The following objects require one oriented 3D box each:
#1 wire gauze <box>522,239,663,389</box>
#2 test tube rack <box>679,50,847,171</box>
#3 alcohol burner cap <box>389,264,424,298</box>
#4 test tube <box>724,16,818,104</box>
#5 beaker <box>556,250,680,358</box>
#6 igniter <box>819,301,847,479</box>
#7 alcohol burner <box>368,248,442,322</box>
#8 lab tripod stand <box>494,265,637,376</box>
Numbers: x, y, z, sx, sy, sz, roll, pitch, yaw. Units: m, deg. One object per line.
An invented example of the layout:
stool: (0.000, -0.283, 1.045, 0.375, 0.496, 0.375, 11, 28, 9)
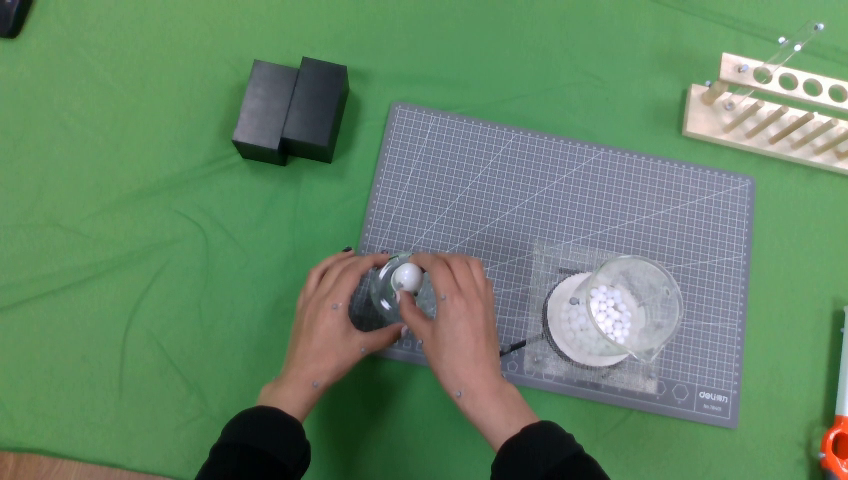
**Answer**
wire gauze: (0.153, 0.064, 0.550, 0.125, 0.011, 0.121, 10, 74, 1)
test tube rack: (0.441, -0.147, 0.715, 0.242, 0.085, 0.066, 13, 76, -1)
alcohol burner cap: (-0.015, 0.039, 0.587, 0.034, 0.048, 0.033, 2, 80, -9)
test tube: (0.378, -0.194, 0.671, 0.017, 0.151, 0.017, 1, 72, -4)
beaker: (0.155, 0.059, 0.502, 0.074, 0.100, 0.083, -11, 76, -5)
igniter: (0.463, 0.201, 0.665, 0.057, 0.025, 0.275, 18, 76, -9)
alcohol burner: (-0.019, 0.043, 0.622, 0.078, 0.119, 0.077, 1, 74, -3)
lab tripod stand: (0.147, 0.082, 0.613, 0.148, 0.132, 0.147, 1, 75, -2)
